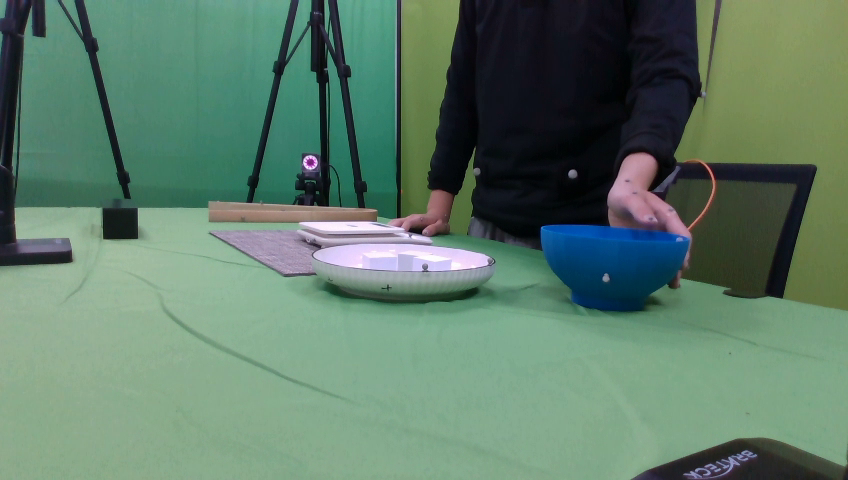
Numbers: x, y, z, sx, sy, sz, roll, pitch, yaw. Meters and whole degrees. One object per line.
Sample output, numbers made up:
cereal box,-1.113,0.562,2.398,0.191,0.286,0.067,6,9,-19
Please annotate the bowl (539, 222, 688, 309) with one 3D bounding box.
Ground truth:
bowl,0.195,0.027,0.641,0.151,0.077,0.151,3,7,0

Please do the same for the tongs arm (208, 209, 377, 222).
tongs arm,-0.280,-0.056,1.355,0.389,0.028,0.028,-1,6,-28

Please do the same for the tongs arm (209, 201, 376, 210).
tongs arm,-0.306,-0.071,1.430,0.386,0.026,0.050,1,8,-15

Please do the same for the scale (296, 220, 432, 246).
scale,-0.101,-0.012,1.017,0.202,0.031,0.148,-1,8,-30

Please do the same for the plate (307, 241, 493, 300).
plate,-0.027,0.034,0.684,0.208,0.039,0.207,2,7,0
